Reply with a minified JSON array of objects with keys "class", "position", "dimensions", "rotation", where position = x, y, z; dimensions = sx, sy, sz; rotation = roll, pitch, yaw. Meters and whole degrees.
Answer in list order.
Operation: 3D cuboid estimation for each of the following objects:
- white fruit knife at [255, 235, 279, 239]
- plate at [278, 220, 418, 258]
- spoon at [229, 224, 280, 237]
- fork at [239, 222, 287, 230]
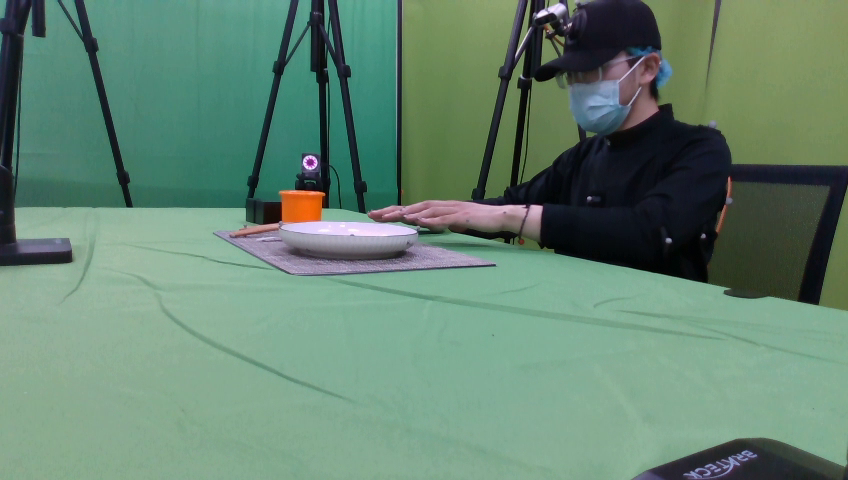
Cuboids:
[{"class":"white fruit knife","position":[-0.197,-0.012,1.047],"dimensions":[0.208,0.016,0.027],"rotation":[-6,-2,-44]},{"class":"plate","position":[-0.114,-0.002,0.914],"dimensions":[0.209,0.038,0.209],"rotation":[2,7,0]},{"class":"spoon","position":[-0.248,-0.020,1.071],"dimensions":[0.195,0.021,0.041],"rotation":[-3,25,-36]},{"class":"fork","position":[-0.241,-0.025,1.125],"dimensions":[0.208,0.018,0.028],"rotation":[-1,16,-35]}]
